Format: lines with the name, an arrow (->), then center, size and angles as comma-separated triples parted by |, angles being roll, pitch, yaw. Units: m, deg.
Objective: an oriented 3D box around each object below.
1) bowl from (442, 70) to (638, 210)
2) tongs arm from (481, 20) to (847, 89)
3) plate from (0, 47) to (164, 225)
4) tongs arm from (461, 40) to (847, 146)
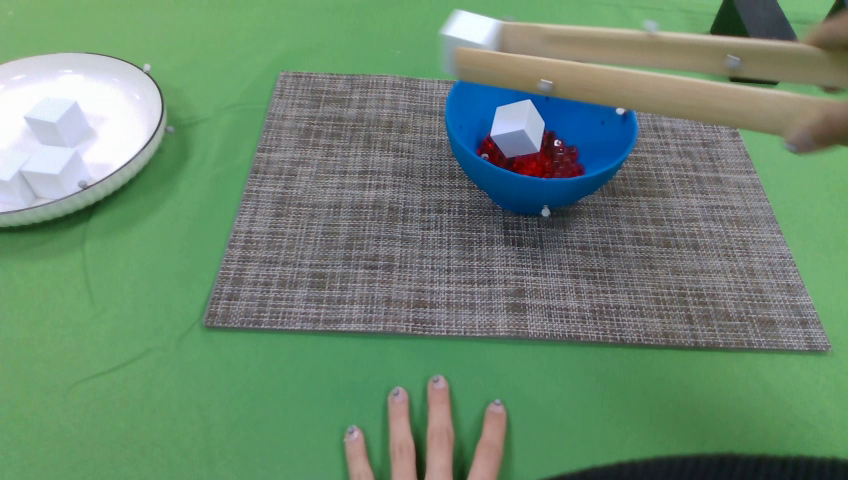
bowl -> 0.087, -0.077, 0.499 | 0.151, 0.077, 0.150 | 2, 51, -2
tongs arm -> 0.201, -0.089, 0.336 | 0.382, 0.027, 0.050 | 13, 49, 24
plate -> -0.328, -0.089, 0.516 | 0.209, 0.038, 0.207 | 2, 52, -2
tongs arm -> 0.189, -0.074, 0.324 | 0.385, 0.028, 0.028 | 17, 48, 27
